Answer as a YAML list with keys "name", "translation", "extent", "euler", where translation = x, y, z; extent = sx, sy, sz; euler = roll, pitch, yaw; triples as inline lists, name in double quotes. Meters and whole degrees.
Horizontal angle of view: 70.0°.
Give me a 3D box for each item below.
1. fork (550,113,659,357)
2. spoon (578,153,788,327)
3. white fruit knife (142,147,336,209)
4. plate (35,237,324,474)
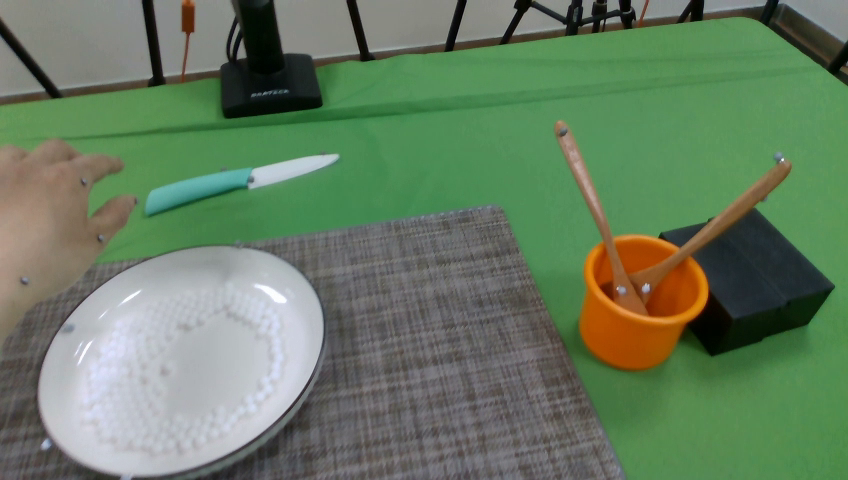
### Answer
- name: "fork"
  translation: [0.142, -0.004, 0.485]
  extent: [0.028, 0.018, 0.207]
  euler: [-22, 94, -6]
- name: "spoon"
  translation: [0.200, 0.003, 0.475]
  extent: [0.041, 0.194, 0.021]
  euler: [48, 23, 5]
- name: "white fruit knife"
  translation: [-0.192, -0.072, 0.644]
  extent: [0.208, 0.016, 0.027]
  euler: [-17, 77, -19]
- name: "plate"
  translation: [-0.180, 0.083, 0.470]
  extent: [0.209, 0.038, 0.207]
  euler: [0, 46, 0]
